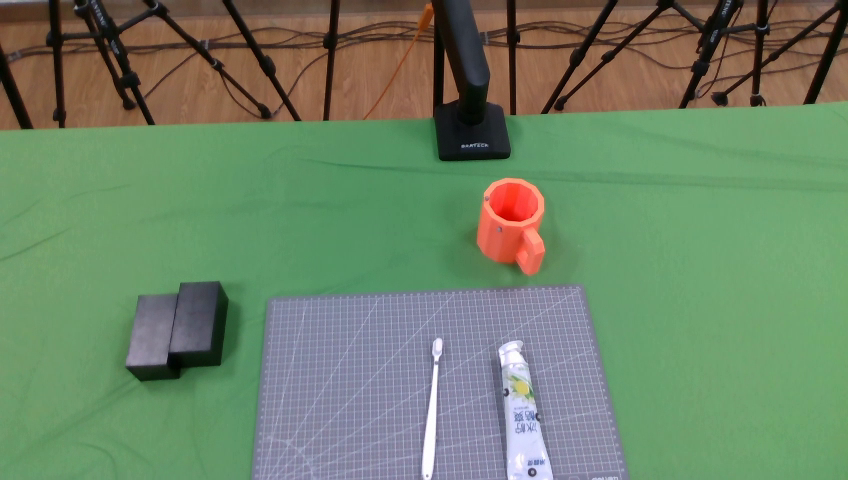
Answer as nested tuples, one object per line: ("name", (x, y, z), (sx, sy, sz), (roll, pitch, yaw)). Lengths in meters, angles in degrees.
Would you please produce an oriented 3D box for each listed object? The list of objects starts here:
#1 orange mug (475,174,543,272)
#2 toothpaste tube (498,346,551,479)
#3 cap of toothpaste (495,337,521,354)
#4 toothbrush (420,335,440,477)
("orange mug", (0.129, -0.020, 0.869), (0.083, 0.102, 0.125), (-21, 56, -15))
("toothpaste tube", (0.117, 0.212, 0.760), (0.055, 0.035, 0.163), (-7, 62, 2))
("cap of toothpaste", (0.112, 0.140, 0.798), (0.037, 0.037, 0.011), (-13, 56, -11))
("toothbrush", (0.009, 0.205, 0.766), (0.014, 0.017, 0.180), (13, 58, -12))
